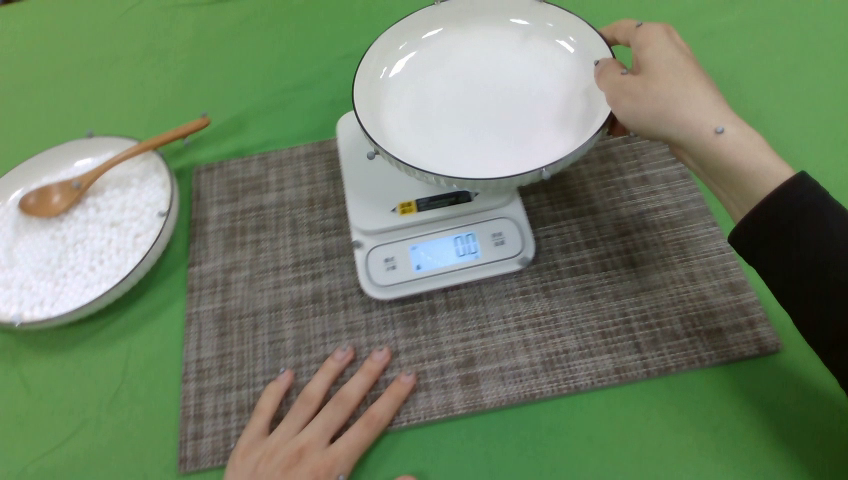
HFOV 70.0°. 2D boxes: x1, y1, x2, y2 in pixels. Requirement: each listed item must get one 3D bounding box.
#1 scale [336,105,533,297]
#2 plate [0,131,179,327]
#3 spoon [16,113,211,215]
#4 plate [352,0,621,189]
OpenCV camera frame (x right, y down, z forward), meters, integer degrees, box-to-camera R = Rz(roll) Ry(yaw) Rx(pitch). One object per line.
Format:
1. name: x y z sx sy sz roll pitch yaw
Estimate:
1. scale: 0.003 -0.052 0.537 0.149 0.032 0.199 -13 58 0
2. plate: -0.325 -0.011 0.557 0.209 0.038 0.207 -3 58 5
3. spoon: -0.292 -0.075 0.574 0.194 0.022 0.041 -29 58 -2
4. plate: 0.048 -0.119 0.485 0.207 0.039 0.205 -3 57 5
